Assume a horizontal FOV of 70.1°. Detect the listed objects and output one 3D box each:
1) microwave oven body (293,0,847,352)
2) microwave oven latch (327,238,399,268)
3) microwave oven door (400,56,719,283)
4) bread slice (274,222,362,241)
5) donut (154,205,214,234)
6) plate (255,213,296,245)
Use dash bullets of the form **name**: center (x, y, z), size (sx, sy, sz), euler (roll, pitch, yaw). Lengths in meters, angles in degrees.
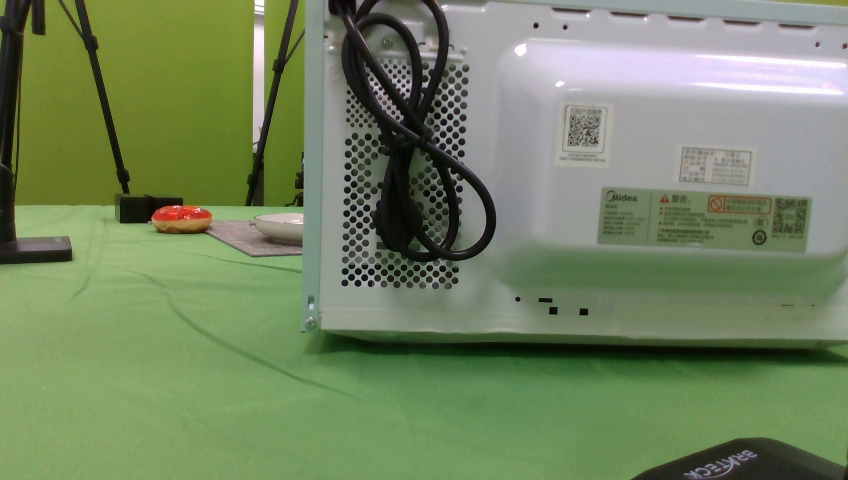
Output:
- **microwave oven body**: center (0.122, -0.055, 0.550), size (0.442, 0.260, 0.325), euler (3, 7, -5)
- **microwave oven latch**: center (-0.069, 0.015, 0.694), size (0.079, 0.029, 0.030), euler (3, 7, -3)
- **microwave oven door**: center (0.155, -0.077, 0.697), size (0.356, 0.243, 0.039), euler (2, 8, -5)
- **bread slice**: center (-0.181, -0.016, 1.011), size (0.104, 0.019, 0.132), euler (5, 7, 27)
- **donut**: center (-0.426, -0.037, 1.075), size (0.099, 0.048, 0.099), euler (2, 12, 0)
- **plate**: center (-0.177, -0.018, 1.017), size (0.208, 0.039, 0.207), euler (2, 7, 0)
